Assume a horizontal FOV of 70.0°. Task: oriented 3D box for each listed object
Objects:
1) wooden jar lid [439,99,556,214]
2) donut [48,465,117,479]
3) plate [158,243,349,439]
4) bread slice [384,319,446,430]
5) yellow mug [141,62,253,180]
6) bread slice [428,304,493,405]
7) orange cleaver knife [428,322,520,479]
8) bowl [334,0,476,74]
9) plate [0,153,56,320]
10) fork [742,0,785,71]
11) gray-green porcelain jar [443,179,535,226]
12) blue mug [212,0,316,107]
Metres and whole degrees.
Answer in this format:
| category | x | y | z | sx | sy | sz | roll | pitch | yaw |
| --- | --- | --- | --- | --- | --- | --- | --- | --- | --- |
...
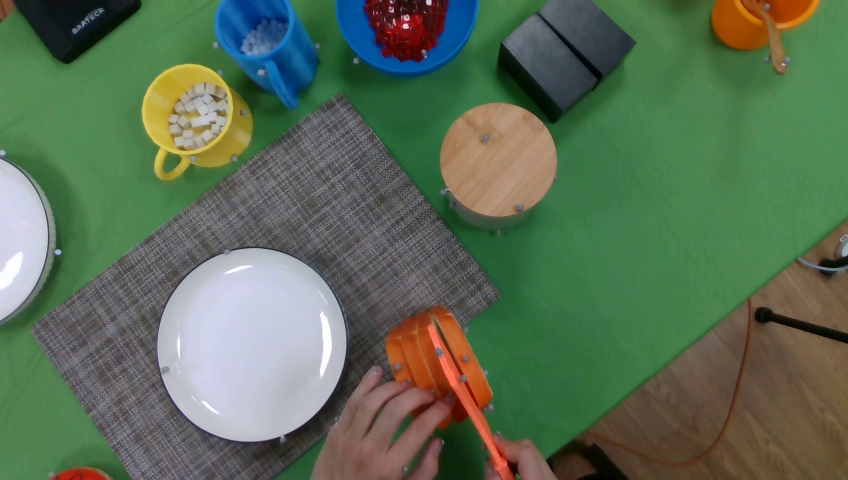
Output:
| category | x | y | z | sx | sy | sz | roll | pitch | yaw |
| --- | --- | --- | --- | --- | --- | --- | --- | --- | --- |
| wooden jar lid | 0.068 | -0.076 | 0.564 | 0.108 | 0.021 | 0.108 | 0 | 85 | 0 |
| donut | -0.373 | 0.295 | 0.658 | 0.099 | 0.048 | 0.099 | 0 | 84 | 1 |
| plate | -0.183 | 0.108 | 0.663 | 0.209 | 0.038 | 0.208 | 0 | 85 | 3 |
| bread slice | -0.008 | 0.133 | 0.611 | 0.018 | 0.134 | 0.106 | -26 | 83 | 4 |
| yellow mug | -0.259 | -0.125 | 0.675 | 0.100 | 0.064 | 0.131 | 29 | 89 | 5 |
| bread slice | 0.037 | 0.114 | 0.610 | 0.019 | 0.131 | 0.105 | -27 | 89 | -5 |
| orange cleaver knife | 0.053 | 0.165 | 0.554 | 0.012 | 0.076 | 0.213 | -27 | 114 | 2 |
| bowl | -0.018 | -0.247 | 0.668 | 0.151 | 0.077 | 0.151 | 0 | 86 | 3 |
| plate | -0.517 | -0.002 | 0.691 | 0.207 | 0.039 | 0.207 | 0 | 86 | 2 |
| fork | 0.344 | -0.223 | 0.613 | 0.028 | 0.019 | 0.206 | 24 | 43 | -2 |
| gray-green porcelain jar | 0.072 | -0.070 | 0.626 | 0.106 | 0.127 | 0.105 | 0 | 85 | 3 |
| blue mug | -0.164 | -0.201 | 0.657 | 0.082 | 0.106 | 0.116 | -19 | 85 | 1 |
